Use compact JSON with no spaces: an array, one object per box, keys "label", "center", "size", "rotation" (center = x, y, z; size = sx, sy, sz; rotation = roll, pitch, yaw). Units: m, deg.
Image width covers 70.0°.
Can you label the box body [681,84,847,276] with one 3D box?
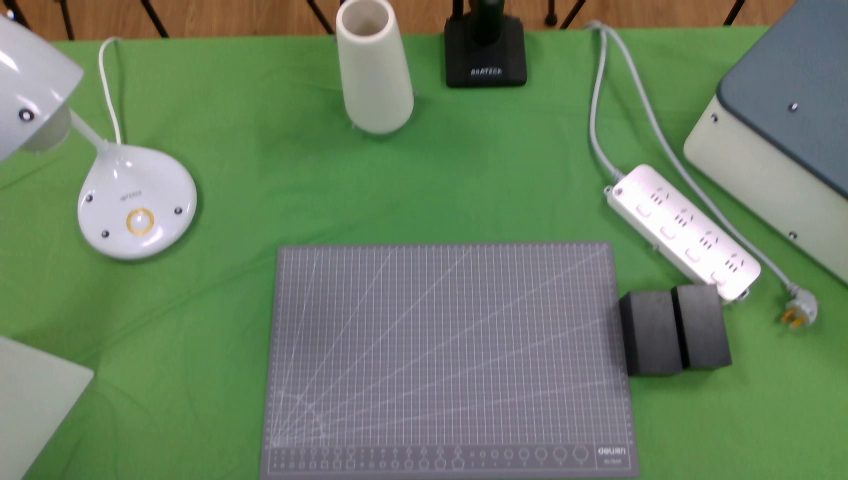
[{"label":"box body","center":[0.552,-0.127,0.768],"size":[0.362,0.161,0.254],"rotation":[42,77,13]}]

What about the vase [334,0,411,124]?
[{"label":"vase","center":[-0.067,-0.238,0.792],"size":[0.098,0.201,0.097],"rotation":[0,70,0]}]

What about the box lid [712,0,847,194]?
[{"label":"box lid","center":[0.551,-0.151,0.697],"size":[0.369,0.015,0.263],"rotation":[43,78,13]}]

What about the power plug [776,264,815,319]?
[{"label":"power plug","center":[0.467,0.071,0.781],"size":[0.052,0.035,0.072],"rotation":[-30,34,-5]}]

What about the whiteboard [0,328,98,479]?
[{"label":"whiteboard","center":[-0.565,0.156,0.641],"size":[0.143,0.308,0.216],"rotation":[22,72,29]}]

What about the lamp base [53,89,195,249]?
[{"label":"lamp base","center":[-0.403,-0.098,0.758],"size":[0.160,0.181,0.178],"rotation":[-31,71,-9]}]

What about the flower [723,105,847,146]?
[{"label":"flower","center":[0.598,-0.131,0.842],"size":[0.358,0.038,0.044],"rotation":[28,64,29]}]

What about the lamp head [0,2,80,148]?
[{"label":"lamp head","center":[-0.365,-0.150,0.484],"size":[0.112,0.124,0.111],"rotation":[-28,37,24]}]

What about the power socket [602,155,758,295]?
[{"label":"power socket","center":[0.338,-0.022,0.803],"size":[0.072,0.033,0.225],"rotation":[-39,75,-12]}]
